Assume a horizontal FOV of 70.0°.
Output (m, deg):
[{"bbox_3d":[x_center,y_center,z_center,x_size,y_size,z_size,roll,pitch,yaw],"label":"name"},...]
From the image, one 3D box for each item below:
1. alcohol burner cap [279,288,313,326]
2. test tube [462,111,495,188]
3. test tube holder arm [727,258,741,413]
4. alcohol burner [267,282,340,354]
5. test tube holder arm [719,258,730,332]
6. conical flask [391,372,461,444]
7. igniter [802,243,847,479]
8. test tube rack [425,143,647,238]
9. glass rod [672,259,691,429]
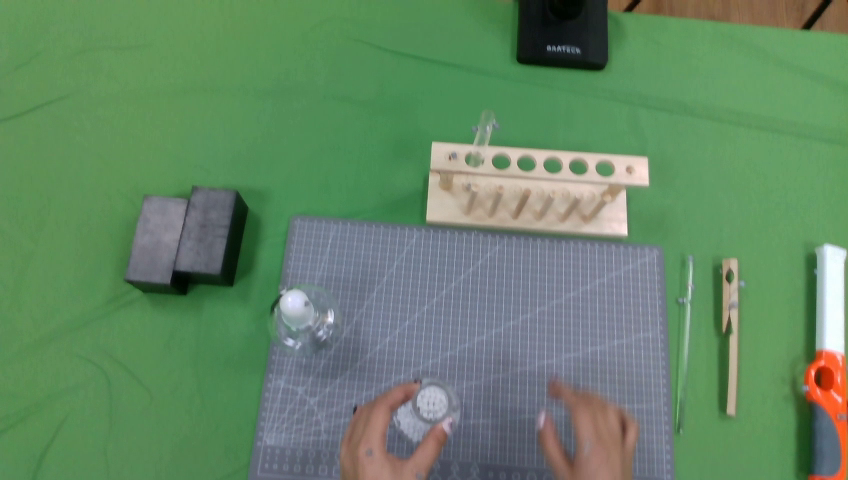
[{"bbox_3d":[-0.128,0.064,0.601,0.034,0.048,0.033,2,68,-6],"label":"alcohol burner cap"},{"bbox_3d":[0.058,-0.095,0.665,0.017,0.151,0.017,1,69,-3],"label":"test tube"},{"bbox_3d":[0.354,0.107,0.695,0.013,0.015,0.177,-8,67,34],"label":"test tube holder arm"},{"bbox_3d":[-0.129,0.078,0.634,0.078,0.120,0.077,0,70,0],"label":"alcohol burner"},{"bbox_3d":[0.355,0.065,0.712,0.010,0.015,0.087,-6,68,35],"label":"test tube holder arm"},{"bbox_3d":[0.005,0.164,0.605,0.075,0.122,0.075,1,72,-3],"label":"conical flask"},{"bbox_3d":[0.457,0.136,0.686,0.057,0.025,0.275,16,72,-7],"label":"igniter"},{"bbox_3d":[0.125,-0.056,0.707,0.242,0.085,0.066,4,71,-1],"label":"test tube rack"},{"bbox_3d":[0.296,0.116,0.696,0.008,0.008,0.198,12,74,2],"label":"glass rod"}]
